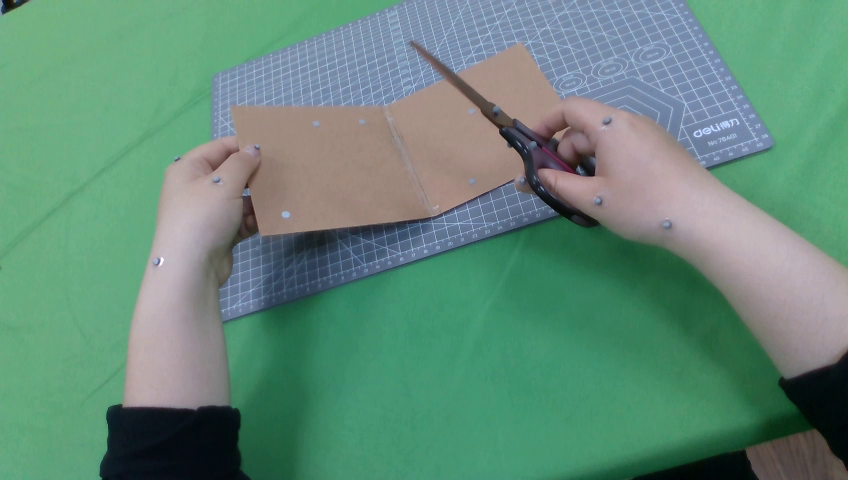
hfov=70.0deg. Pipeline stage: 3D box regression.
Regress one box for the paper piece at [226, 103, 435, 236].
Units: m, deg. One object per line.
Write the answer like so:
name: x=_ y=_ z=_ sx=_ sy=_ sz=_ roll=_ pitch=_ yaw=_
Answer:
paper piece: x=-0.077 y=-0.064 z=0.484 sx=0.139 sy=0.009 sz=0.134 roll=-8 pitch=52 yaw=-22

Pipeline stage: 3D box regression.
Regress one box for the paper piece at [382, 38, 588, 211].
paper piece: x=0.044 y=-0.102 z=0.507 sx=0.135 sy=0.004 sz=0.134 roll=-25 pitch=57 yaw=3

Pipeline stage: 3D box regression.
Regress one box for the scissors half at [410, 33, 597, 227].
scissors half: x=0.049 y=-0.075 z=0.396 sx=0.174 sy=0.040 sz=0.013 roll=49 pitch=125 yaw=9

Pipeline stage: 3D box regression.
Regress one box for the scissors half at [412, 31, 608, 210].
scissors half: x=0.058 y=-0.083 z=0.411 sx=0.175 sy=0.013 sz=0.040 roll=40 pitch=40 yaw=-4
